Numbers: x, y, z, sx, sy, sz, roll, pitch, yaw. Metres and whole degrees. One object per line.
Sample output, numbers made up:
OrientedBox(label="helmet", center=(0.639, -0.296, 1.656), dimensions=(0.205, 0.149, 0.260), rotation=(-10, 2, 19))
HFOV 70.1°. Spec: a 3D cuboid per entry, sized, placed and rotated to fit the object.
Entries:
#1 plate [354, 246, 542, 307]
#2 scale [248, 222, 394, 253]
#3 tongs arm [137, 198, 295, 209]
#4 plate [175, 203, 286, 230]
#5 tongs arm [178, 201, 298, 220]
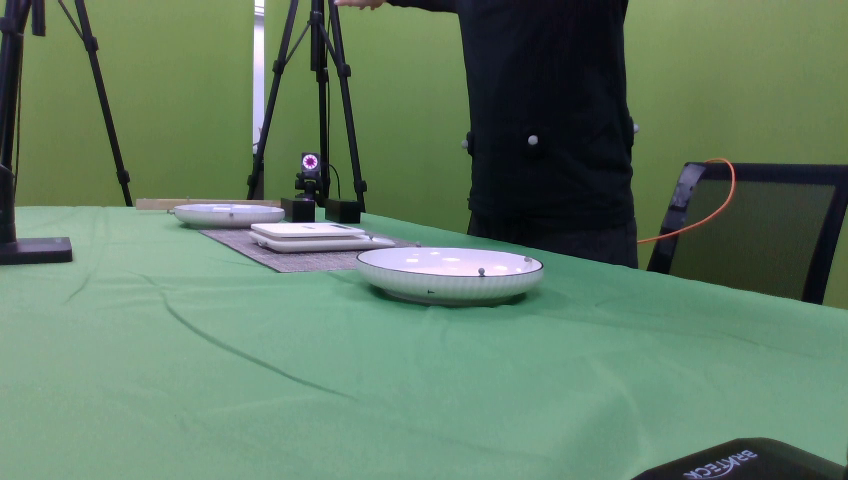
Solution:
OrientedBox(label="plate", center=(0.025, 0.039, 0.672), dimensions=(0.209, 0.038, 0.209), rotation=(3, 7, 0))
OrientedBox(label="scale", center=(-0.162, -0.006, 0.954), dimensions=(0.202, 0.031, 0.148), rotation=(-1, 9, -32))
OrientedBox(label="tongs arm", center=(-0.488, -0.086, 1.472), dimensions=(0.050, 0.026, 0.387), rotation=(11, 10, 42))
OrientedBox(label="plate", center=(-0.380, -0.047, 1.199), dimensions=(0.208, 0.039, 0.207), rotation=(3, 7, 0))
OrientedBox(label="tongs arm", center=(-0.418, -0.071, 1.419), dimensions=(0.028, 0.028, 0.389), rotation=(4, 7, 28))
